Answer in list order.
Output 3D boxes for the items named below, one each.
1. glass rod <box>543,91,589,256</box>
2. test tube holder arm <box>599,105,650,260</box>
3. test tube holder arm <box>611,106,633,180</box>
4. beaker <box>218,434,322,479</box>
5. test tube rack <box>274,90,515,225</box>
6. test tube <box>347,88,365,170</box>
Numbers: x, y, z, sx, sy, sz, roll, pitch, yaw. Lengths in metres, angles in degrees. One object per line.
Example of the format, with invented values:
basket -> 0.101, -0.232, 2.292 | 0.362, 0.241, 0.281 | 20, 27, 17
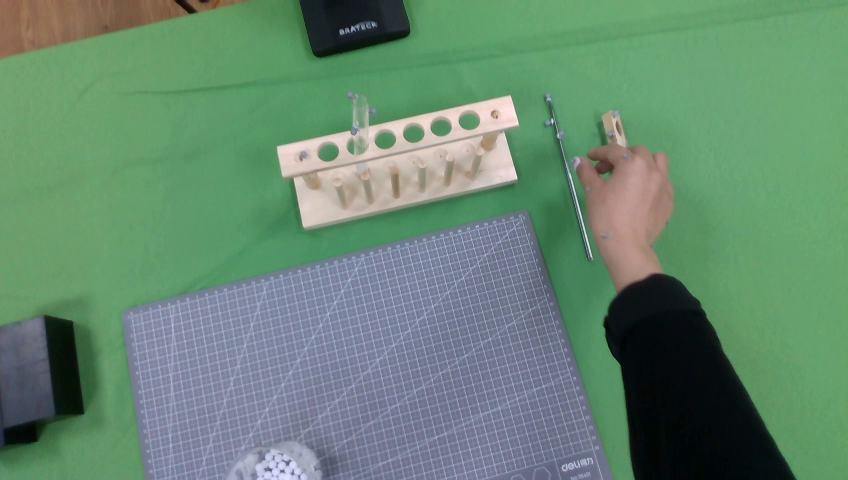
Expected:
glass rod -> 0.158, -0.077, 0.679 | 0.008, 0.008, 0.198 | -10, 77, -3
test tube holder arm -> 0.221, -0.065, 0.669 | 0.013, 0.015, 0.177 | -2, 75, -31
test tube holder arm -> 0.218, -0.108, 0.682 | 0.010, 0.015, 0.087 | -1, 75, -31
beaker -> -0.134, 0.218, 0.560 | 0.084, 0.100, 0.073 | -10, 77, -3
test tube rack -> -0.025, -0.084, 0.642 | 0.242, 0.085, 0.066 | -13, 76, -3
test tube -> -0.066, -0.103, 0.596 | 0.017, 0.151, 0.017 | 2, 73, -5
